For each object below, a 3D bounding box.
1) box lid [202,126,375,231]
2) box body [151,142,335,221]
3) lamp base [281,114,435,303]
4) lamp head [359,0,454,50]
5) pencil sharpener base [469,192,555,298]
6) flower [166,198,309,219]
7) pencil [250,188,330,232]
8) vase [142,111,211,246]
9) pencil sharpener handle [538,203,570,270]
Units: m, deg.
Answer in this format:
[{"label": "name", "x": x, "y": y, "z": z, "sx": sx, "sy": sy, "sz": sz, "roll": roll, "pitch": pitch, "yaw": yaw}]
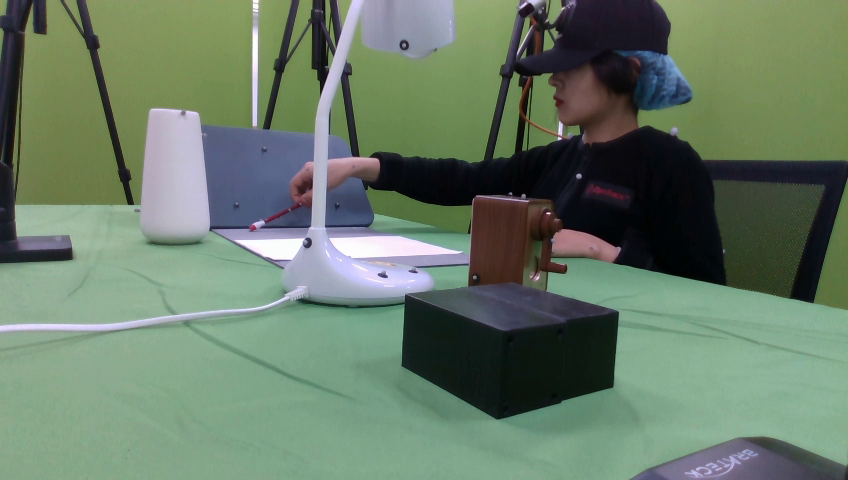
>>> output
[{"label": "box lid", "x": -0.294, "y": -0.128, "z": 1.235, "sx": 0.373, "sy": 0.262, "sz": 0.015, "roll": -2, "pitch": -35, "yaw": -32}, {"label": "box body", "x": -0.412, "y": -0.135, "z": 1.379, "sx": 0.366, "sy": 0.160, "sz": 0.253, "roll": -2, "pitch": 9, "yaw": -31}, {"label": "lamp base", "x": -0.071, "y": -0.035, "z": 0.614, "sx": 0.160, "sy": 0.180, "sz": 0.180, "roll": 6, "pitch": 10, "yaw": 27}, {"label": "lamp head", "x": -0.024, "y": -0.283, "z": 0.674, "sx": 0.112, "sy": 0.123, "sz": 0.112, "roll": -3, "pitch": 38, "yaw": 3}, {"label": "pencil sharpener base", "x": 0.097, "y": 0.003, "z": 0.652, "sx": 0.076, "sy": 0.107, "sz": 0.061, "roll": 8, "pitch": 9, "yaw": 38}, {"label": "flower", "x": -0.399, "y": -0.062, "z": 1.357, "sx": 0.044, "sy": 0.038, "sz": 0.364, "roll": -36, "pitch": -22, "yaw": 32}, {"label": "pencil", "x": -0.248, "y": -0.061, "z": 1.142, "sx": 0.012, "sy": 0.012, "sz": 0.195, "roll": 9, "pitch": 32, "yaw": 42}, {"label": "vase", "x": -0.378, "y": -0.093, "z": 0.920, "sx": 0.098, "sy": 0.200, "sz": 0.098, "roll": 2, "pitch": 9, "yaw": 0}, {"label": "pencil sharpener handle", "x": 0.137, "y": -0.003, "z": 0.619, "sx": 0.030, "sy": 0.067, "sz": 0.036, "roll": 8, "pitch": 5, "yaw": 38}]
